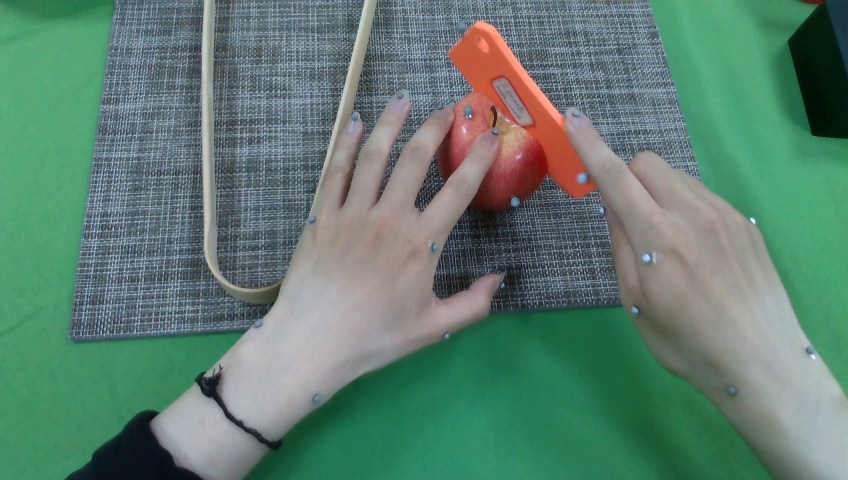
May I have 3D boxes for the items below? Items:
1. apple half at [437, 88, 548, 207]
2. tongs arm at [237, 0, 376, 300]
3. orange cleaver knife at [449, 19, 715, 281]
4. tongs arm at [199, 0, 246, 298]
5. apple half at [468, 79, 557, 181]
[{"bbox_3d":[0.038,-0.055,0.417,0.053,0.075,0.080,-42,79,-14],"label":"apple half"},{"bbox_3d":[-0.072,-0.137,0.466,0.051,0.027,0.382,8,68,-2],"label":"tongs arm"},{"bbox_3d":[0.091,-0.053,0.377,0.012,0.077,0.211,-41,85,-13],"label":"orange cleaver knife"},{"bbox_3d":[-0.156,-0.141,0.463,0.028,0.028,0.384,-4,68,-10],"label":"tongs arm"},{"bbox_3d":[0.067,-0.082,0.430,0.081,0.082,0.033,43,69,13],"label":"apple half"}]
